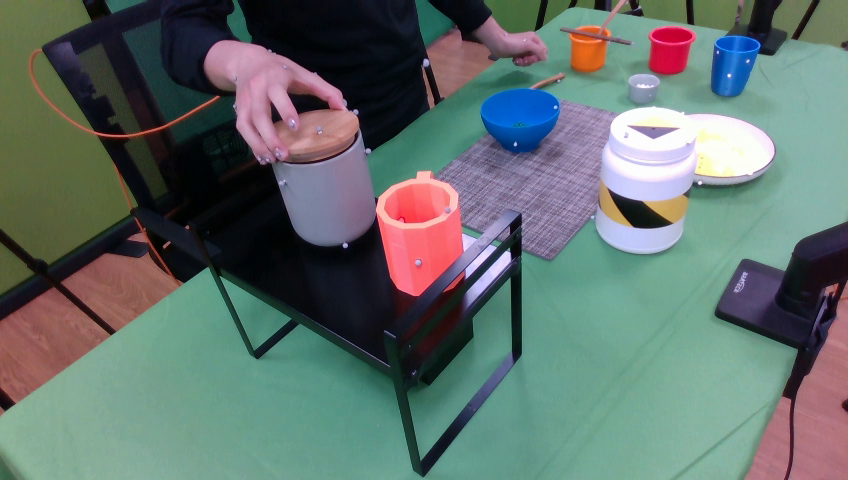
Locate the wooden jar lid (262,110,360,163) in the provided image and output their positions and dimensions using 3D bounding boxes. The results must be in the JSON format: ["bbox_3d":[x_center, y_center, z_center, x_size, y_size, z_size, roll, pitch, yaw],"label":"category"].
[{"bbox_3d":[-0.123,-0.114,0.670,0.108,0.021,0.108,-6,32,4],"label":"wooden jar lid"}]

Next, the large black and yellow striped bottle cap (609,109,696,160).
[{"bbox_3d":[0.319,-0.150,0.849,0.115,0.019,0.114,-4,39,3],"label":"large black and yellow striped bottle cap"}]

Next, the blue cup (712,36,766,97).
[{"bbox_3d":[0.627,-0.350,1.227,0.092,0.100,0.092,-4,39,4],"label":"blue cup"}]

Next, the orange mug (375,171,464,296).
[{"bbox_3d":[-0.001,-0.016,0.662,0.083,0.101,0.125,-2,45,8],"label":"orange mug"}]

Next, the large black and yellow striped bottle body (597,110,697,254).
[{"bbox_3d":[0.331,-0.086,0.904,0.131,0.185,0.130,-5,41,4],"label":"large black and yellow striped bottle body"}]

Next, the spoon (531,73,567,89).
[{"bbox_3d":[0.249,-0.336,1.332,0.194,0.022,0.041,-32,32,-25],"label":"spoon"}]

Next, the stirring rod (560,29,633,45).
[{"bbox_3d":[0.381,-0.452,1.345,0.174,0.006,0.014,25,49,33],"label":"stirring rod"}]

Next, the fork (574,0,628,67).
[{"bbox_3d":[0.413,-0.481,1.377,0.207,0.019,0.028,-56,43,12],"label":"fork"}]

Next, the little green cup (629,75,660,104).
[{"bbox_3d":[0.457,-0.314,1.260,0.061,0.039,0.061,-4,40,4],"label":"little green cup"}]

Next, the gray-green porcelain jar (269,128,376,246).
[{"bbox_3d":[-0.115,-0.064,0.715,0.106,0.127,0.105,-4,40,4],"label":"gray-green porcelain jar"}]

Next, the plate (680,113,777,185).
[{"bbox_3d":[0.506,-0.158,1.073,0.209,0.038,0.208,-5,40,4],"label":"plate"}]

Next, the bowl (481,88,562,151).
[{"bbox_3d":[0.187,-0.223,1.162,0.151,0.077,0.150,-4,40,4],"label":"bowl"}]
